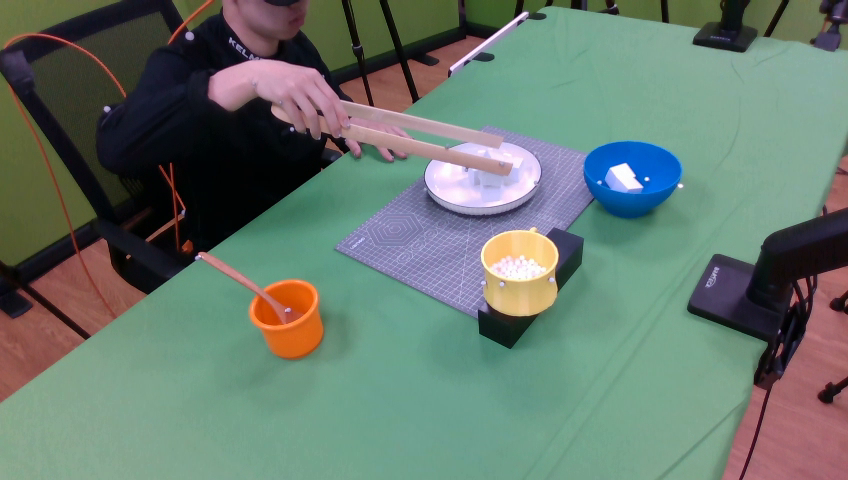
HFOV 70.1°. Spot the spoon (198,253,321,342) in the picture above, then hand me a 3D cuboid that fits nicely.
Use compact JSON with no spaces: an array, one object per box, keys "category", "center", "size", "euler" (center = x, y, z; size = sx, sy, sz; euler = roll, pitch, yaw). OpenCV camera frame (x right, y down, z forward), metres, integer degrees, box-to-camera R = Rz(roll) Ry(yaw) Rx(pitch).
[{"category":"spoon","center":[-0.220,0.076,0.815],"size":[0.021,0.194,0.041],"euler":[-36,19,39]}]

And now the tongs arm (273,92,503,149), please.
[{"category":"tongs arm","center":[-0.049,-0.190,0.979],"size":[0.390,0.028,0.028],"euler":[7,43,-19]}]

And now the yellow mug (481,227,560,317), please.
[{"category":"yellow mug","center":[0.131,0.032,0.801],"size":[0.099,0.064,0.131],"euler":[11,43,20]}]

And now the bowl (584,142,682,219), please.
[{"category":"bowl","center":[0.333,-0.087,0.980],"size":[0.151,0.077,0.150],"euler":[-4,40,4]}]

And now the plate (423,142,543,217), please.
[{"category":"plate","center":[0.103,-0.103,1.059],"size":[0.207,0.039,0.206],"euler":[-4,40,4]}]

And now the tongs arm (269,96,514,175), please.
[{"category":"tongs arm","center":[-0.044,-0.159,0.942],"size":[0.387,0.026,0.050],"euler":[9,39,-16]}]
